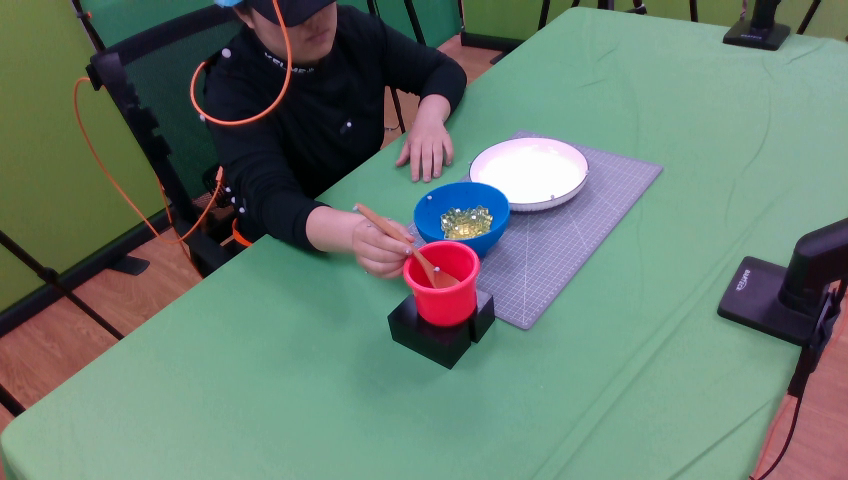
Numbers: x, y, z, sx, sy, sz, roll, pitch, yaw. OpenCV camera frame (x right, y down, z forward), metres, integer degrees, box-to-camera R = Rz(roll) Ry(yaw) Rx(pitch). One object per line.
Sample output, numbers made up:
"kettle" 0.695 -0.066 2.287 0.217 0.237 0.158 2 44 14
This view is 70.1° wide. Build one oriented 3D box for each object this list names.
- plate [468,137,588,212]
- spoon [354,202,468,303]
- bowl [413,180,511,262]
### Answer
"plate" 0.182 -0.111 1.064 0.207 0.039 0.206 -5 40 5
"spoon" -0.016 0.015 0.781 0.021 0.194 0.041 -30 21 43
"bowl" 0.062 -0.019 0.944 0.151 0.077 0.150 -5 40 5
